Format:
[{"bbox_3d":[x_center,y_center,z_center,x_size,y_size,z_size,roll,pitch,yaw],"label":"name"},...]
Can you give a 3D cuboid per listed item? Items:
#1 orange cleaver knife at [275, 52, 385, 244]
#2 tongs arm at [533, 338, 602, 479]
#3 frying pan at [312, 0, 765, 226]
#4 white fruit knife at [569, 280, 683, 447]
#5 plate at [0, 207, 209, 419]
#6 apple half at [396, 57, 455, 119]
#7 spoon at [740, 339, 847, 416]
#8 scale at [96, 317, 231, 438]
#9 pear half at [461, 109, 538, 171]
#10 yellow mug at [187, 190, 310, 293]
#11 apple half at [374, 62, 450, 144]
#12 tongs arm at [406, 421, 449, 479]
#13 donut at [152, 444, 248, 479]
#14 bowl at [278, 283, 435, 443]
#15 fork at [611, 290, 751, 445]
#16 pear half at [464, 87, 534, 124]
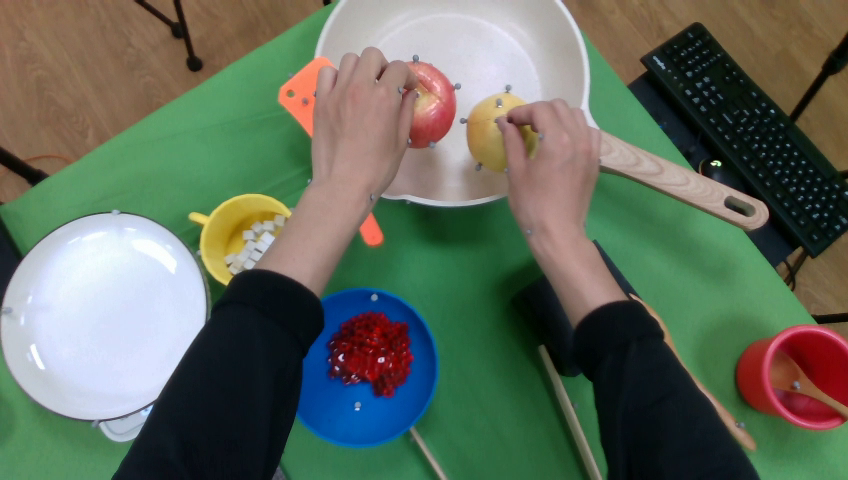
[{"bbox_3d":[-0.081,-0.098,0.621,0.077,0.012,0.210,-29,81,-2],"label":"orange cleaver knife"},{"bbox_3d":[0.179,0.283,0.604,0.028,0.028,0.386,-17,80,-11],"label":"tongs arm"},{"bbox_3d":[0.115,-0.128,0.643,0.485,0.103,0.306,28,81,14],"label":"frying pan"},{"bbox_3d":[0.201,0.125,0.606,0.016,0.027,0.208,-35,95,-5],"label":"white fruit knife"},{"bbox_3d":[-0.317,0.072,0.612,0.209,0.038,0.208,0,79,0],"label":"plate"},{"bbox_3d":[0.007,-0.155,0.607,0.081,0.081,0.033,43,84,9],"label":"apple half"},{"bbox_3d":[0.384,0.154,0.566,0.041,0.022,0.191,-38,36,-7],"label":"spoon"},{"bbox_3d":[-0.309,0.091,0.641,0.149,0.031,0.200,-29,81,-5],"label":"scale"},{"bbox_3d":[0.079,-0.099,0.596,0.076,0.110,0.056,-19,87,-1],"label":"pear half"},{"bbox_3d":[-0.192,-0.003,0.641,0.130,0.064,0.099,23,81,6],"label":"yellow mug"},{"bbox_3d":[-0.019,-0.127,0.600,0.081,0.075,0.053,44,84,1],"label":"apple half"},{"bbox_3d":[0.104,0.323,0.593,0.051,0.026,0.383,-33,82,-10],"label":"tongs arm"},{"bbox_3d":[-0.221,0.252,0.599,0.099,0.048,0.098,0,81,2],"label":"donut"},{"bbox_3d":[-0.063,0.123,0.610,0.151,0.077,0.150,0,80,1],"label":"bowl"},{"bbox_3d":[0.263,0.132,0.612,0.028,0.018,0.208,-43,97,-9],"label":"fork"},{"bbox_3d":[0.073,-0.137,0.611,0.070,0.088,0.031,-15,90,4],"label":"pear half"}]
